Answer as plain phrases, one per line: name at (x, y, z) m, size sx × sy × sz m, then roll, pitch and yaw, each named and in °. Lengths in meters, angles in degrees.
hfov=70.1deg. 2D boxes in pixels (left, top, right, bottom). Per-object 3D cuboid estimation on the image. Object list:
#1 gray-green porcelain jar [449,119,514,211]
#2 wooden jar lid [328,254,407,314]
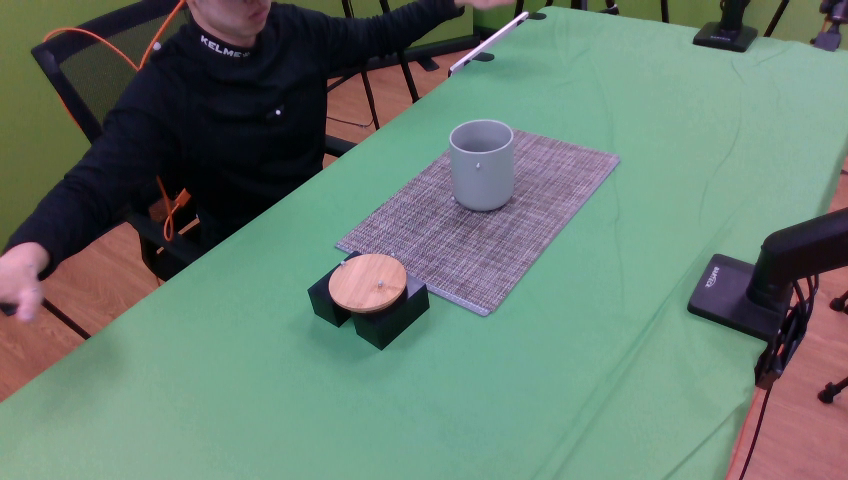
gray-green porcelain jar at (0.098, -0.120, 1.008) m, size 0.106 × 0.127 × 0.105 m, roll -4°, pitch 41°, yaw 4°
wooden jar lid at (-0.077, 0.062, 0.832) m, size 0.108 × 0.021 × 0.108 m, roll -4°, pitch 39°, yaw 4°
